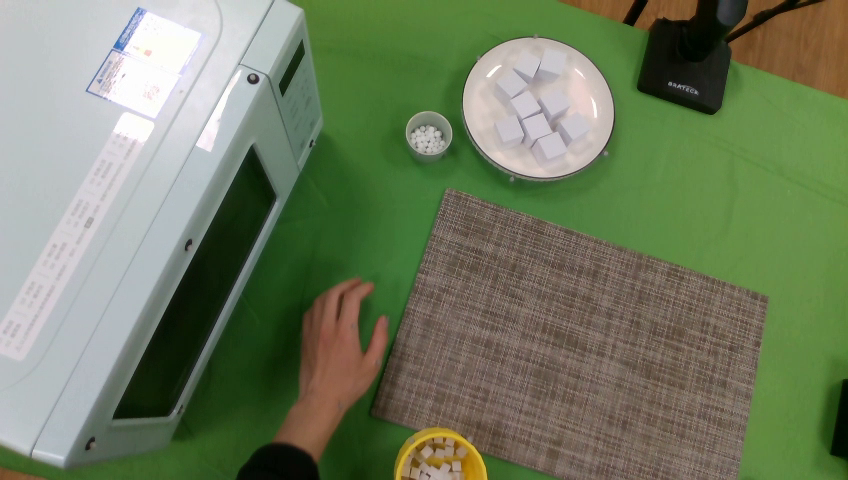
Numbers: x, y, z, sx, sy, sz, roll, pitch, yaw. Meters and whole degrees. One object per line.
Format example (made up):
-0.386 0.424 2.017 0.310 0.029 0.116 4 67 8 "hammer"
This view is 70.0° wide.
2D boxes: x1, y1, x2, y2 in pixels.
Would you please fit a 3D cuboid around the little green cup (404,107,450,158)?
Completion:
0.002 -0.138 0.791 0.061 0.039 0.061 1 77 -6 "little green cup"

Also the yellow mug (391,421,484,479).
0.005 0.271 0.678 0.100 0.064 0.130 31 79 1 "yellow mug"

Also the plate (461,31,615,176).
0.151 -0.181 0.818 0.208 0.039 0.206 1 76 -5 "plate"

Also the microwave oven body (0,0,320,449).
-0.348 -0.059 0.621 0.326 0.261 0.440 22 76 0 "microwave oven body"

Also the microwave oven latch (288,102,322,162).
-0.154 -0.139 0.758 0.030 0.029 0.079 25 76 1 "microwave oven latch"

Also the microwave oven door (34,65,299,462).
-0.228 0.032 0.605 0.039 0.244 0.354 22 75 1 "microwave oven door"
